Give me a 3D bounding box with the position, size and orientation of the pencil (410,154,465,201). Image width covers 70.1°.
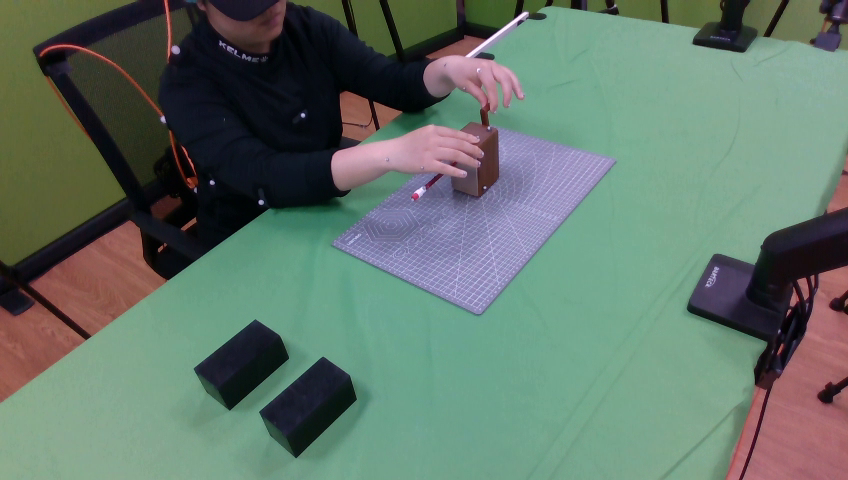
[{"bbox_3d":[0.039,-0.116,0.986,0.012,0.012,0.194,21,47,30],"label":"pencil"}]

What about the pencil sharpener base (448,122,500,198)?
[{"bbox_3d":[0.090,-0.140,1.052,0.061,0.107,0.077,20,47,29],"label":"pencil sharpener base"}]

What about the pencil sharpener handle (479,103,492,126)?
[{"bbox_3d":[0.112,-0.203,1.056,0.035,0.068,0.031,12,43,36],"label":"pencil sharpener handle"}]
